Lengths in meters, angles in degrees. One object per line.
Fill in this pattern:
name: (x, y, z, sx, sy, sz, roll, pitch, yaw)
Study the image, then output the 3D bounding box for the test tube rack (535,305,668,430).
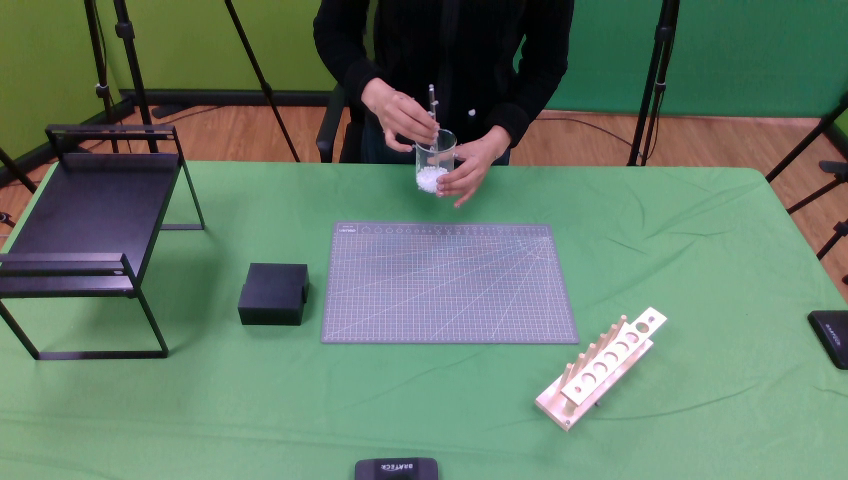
test tube rack: (0.290, 0.193, 0.984, 0.242, 0.085, 0.066, -32, 57, -30)

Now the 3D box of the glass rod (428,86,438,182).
glass rod: (0.016, -0.176, 1.041, 0.008, 0.201, 0.008, -3, 46, 3)

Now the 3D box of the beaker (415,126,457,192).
beaker: (0.020, -0.145, 1.095, 0.074, 0.101, 0.083, 4, 45, 2)
